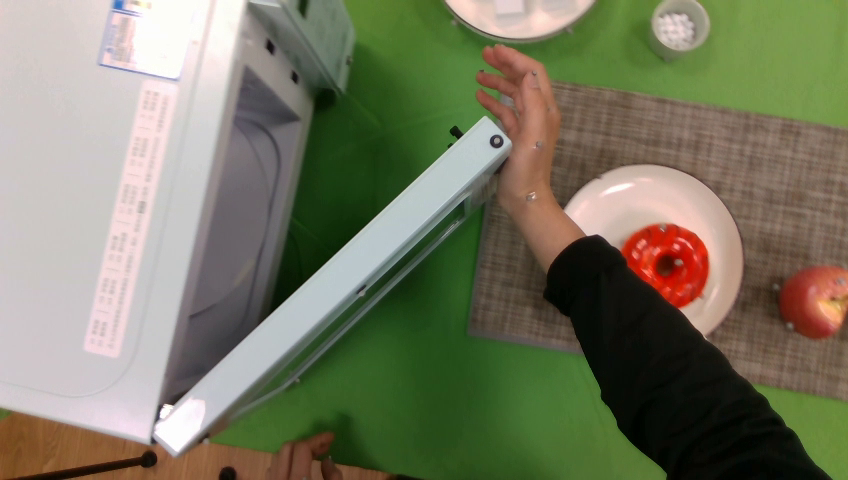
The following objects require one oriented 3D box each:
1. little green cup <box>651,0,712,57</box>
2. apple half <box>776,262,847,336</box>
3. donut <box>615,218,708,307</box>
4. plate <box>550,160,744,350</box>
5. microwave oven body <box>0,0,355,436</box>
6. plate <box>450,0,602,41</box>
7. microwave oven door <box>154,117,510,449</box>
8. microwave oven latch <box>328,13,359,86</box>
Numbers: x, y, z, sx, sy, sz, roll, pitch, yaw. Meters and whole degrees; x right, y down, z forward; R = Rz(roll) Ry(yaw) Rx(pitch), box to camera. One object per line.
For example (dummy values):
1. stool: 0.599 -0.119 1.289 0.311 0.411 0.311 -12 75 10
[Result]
1. little green cup: 0.290 -0.240 0.689 0.061 0.039 0.061 0 87 3
2. apple half: 0.411 0.057 0.648 0.053 0.075 0.081 29 93 8
3. donut: 0.259 0.024 0.664 0.099 0.048 0.099 0 89 4
4. plate: 0.243 0.017 0.676 0.209 0.038 0.209 0 88 4
5. microwave oven body: -0.284 -0.084 0.597 0.326 0.260 0.441 12 89 3
6. plate: 0.118 -0.329 0.702 0.207 0.039 0.207 0 87 3
7. microwave oven door: -0.064 0.039 0.576 0.356 0.244 0.039 -43 84 0
8. microwave oven latch: -0.094 -0.218 0.689 0.030 0.029 0.079 12 89 3
